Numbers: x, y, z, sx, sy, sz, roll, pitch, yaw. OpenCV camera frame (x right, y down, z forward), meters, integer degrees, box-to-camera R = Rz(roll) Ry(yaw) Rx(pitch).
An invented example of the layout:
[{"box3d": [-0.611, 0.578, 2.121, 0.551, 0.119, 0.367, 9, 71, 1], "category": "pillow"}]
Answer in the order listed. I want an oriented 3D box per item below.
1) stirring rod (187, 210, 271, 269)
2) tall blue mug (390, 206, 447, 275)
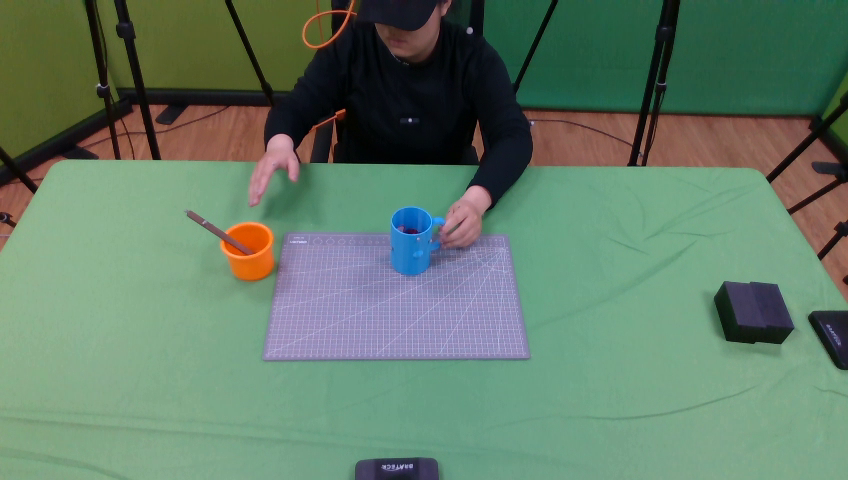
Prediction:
[{"box3d": [-0.349, 0.001, 1.092, 0.177, 0.006, 0.014, 39, 35, -27], "category": "stirring rod"}, {"box3d": [-0.016, -0.006, 1.140, 0.077, 0.108, 0.107, 30, 51, 24], "category": "tall blue mug"}]
